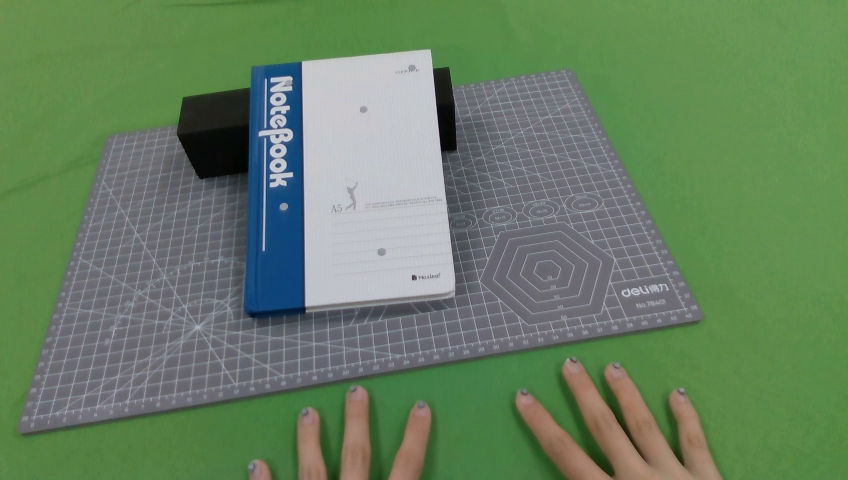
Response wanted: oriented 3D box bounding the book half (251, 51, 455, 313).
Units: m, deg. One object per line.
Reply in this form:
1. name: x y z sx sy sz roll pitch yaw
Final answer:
1. book half: -0.057 -0.052 0.456 0.143 0.007 0.208 -5 67 0
